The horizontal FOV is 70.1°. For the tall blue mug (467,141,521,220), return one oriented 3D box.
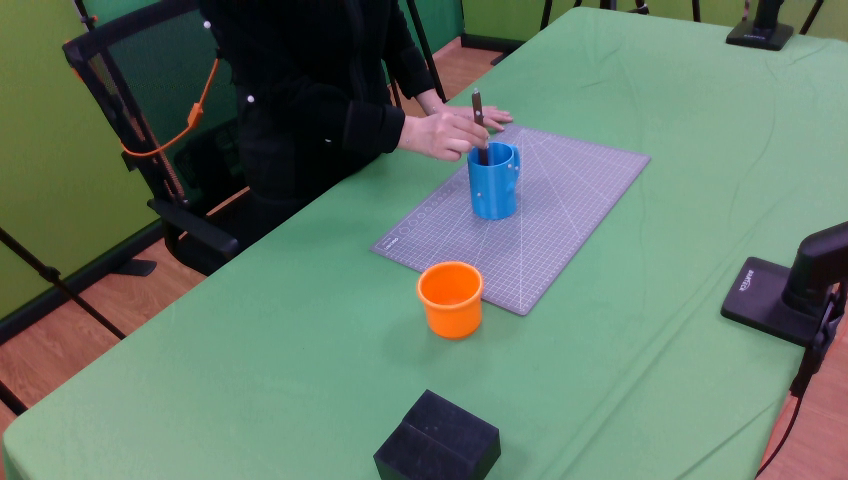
[{"bbox_3d":[0.119,-0.109,1.020,0.077,0.108,0.107,3,42,15],"label":"tall blue mug"}]

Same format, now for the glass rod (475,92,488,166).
[{"bbox_3d":[0.096,-0.159,0.977,0.008,0.201,0.008,-6,52,8],"label":"glass rod"}]
